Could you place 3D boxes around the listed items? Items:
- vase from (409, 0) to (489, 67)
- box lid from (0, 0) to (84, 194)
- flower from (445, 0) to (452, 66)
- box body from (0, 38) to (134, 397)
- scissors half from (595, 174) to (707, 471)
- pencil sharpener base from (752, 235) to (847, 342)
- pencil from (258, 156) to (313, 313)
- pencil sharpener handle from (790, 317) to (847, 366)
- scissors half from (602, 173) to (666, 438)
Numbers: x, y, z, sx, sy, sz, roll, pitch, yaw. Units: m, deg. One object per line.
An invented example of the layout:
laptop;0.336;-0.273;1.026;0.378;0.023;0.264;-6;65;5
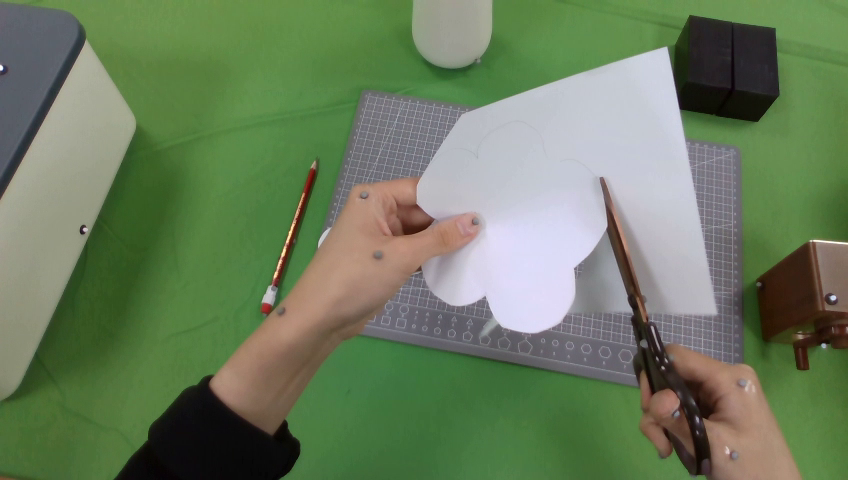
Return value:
vase;0.028;-0.290;0.678;0.098;0.201;0.097;-1;65;1
box lid;-0.483;-0.076;0.524;0.263;0.015;0.369;10;67;4
flower;0.023;-0.336;0.607;0.044;0.365;0.038;3;49;6
box body;-0.482;-0.044;0.592;0.254;0.161;0.361;10;67;5
scissors half;0.125;0.045;0.340;0.013;0.040;0.175;-18;86;-1
pencil sharpener base;0.370;0.053;0.578;0.061;0.108;0.076;5;67;3
pencil;-0.147;-0.012;0.662;0.012;0.012;0.192;10;65;5
pencil sharpener handle;0.361;0.093;0.547;0.036;0.068;0.030;11;66;-10
scissors half;0.126;0.042;0.361;0.013;0.040;0.176;-17;110;4
